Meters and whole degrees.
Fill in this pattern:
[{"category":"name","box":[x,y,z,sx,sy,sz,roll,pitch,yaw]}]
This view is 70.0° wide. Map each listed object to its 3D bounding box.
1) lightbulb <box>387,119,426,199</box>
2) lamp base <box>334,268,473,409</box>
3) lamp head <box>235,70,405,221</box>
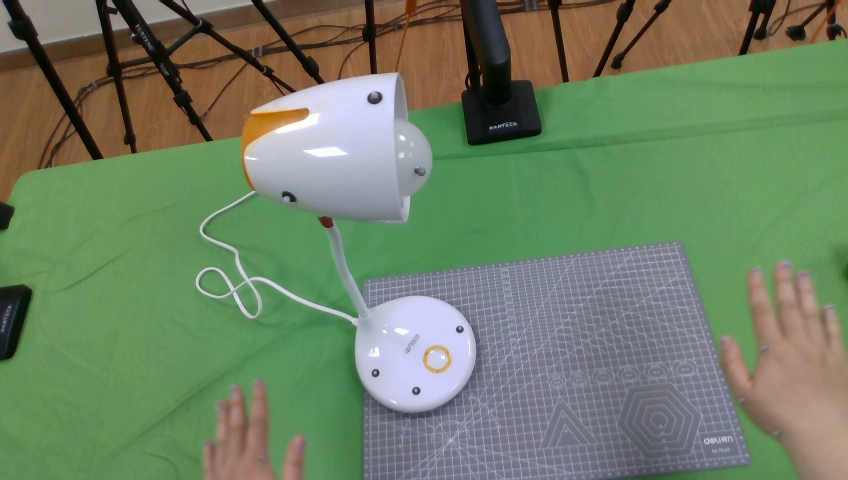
[{"category":"lightbulb","box":[-0.052,-0.056,0.451,0.107,0.060,0.059,-6,59,7]},{"category":"lamp base","box":[-0.039,0.101,0.735,0.178,0.182,0.160,15,63,21]},{"category":"lamp head","box":[-0.075,-0.066,0.457,0.123,0.113,0.111,-4,59,9]}]
